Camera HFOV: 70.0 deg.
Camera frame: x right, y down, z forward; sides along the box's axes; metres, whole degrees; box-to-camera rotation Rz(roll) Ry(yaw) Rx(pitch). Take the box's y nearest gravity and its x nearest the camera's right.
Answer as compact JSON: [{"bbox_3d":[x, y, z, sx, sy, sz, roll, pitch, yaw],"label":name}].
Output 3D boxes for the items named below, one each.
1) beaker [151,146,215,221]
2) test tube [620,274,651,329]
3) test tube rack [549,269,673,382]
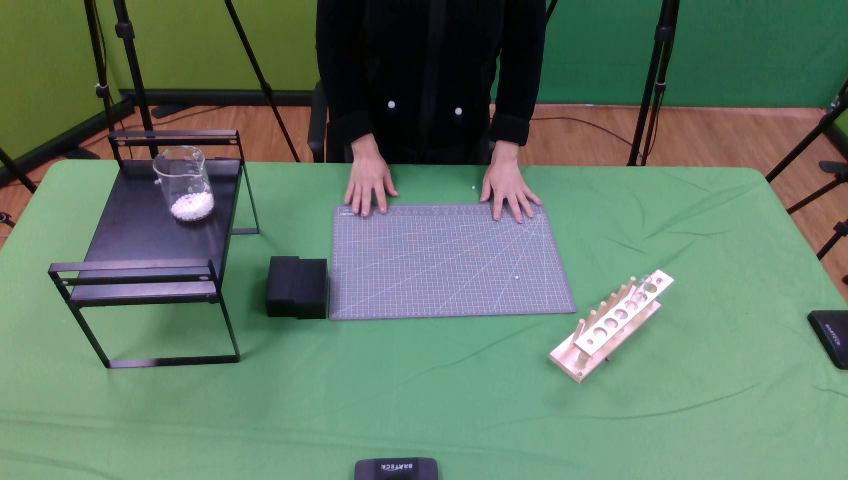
[{"bbox_3d":[-0.370,-0.084,0.949,0.083,0.101,0.074,27,50,19],"label":"beaker"},{"bbox_3d":[0.348,0.105,1.008,0.017,0.151,0.017,1,51,-1],"label":"test tube"},{"bbox_3d":[0.325,0.134,1.047,0.242,0.085,0.066,-32,56,-30],"label":"test tube rack"}]
